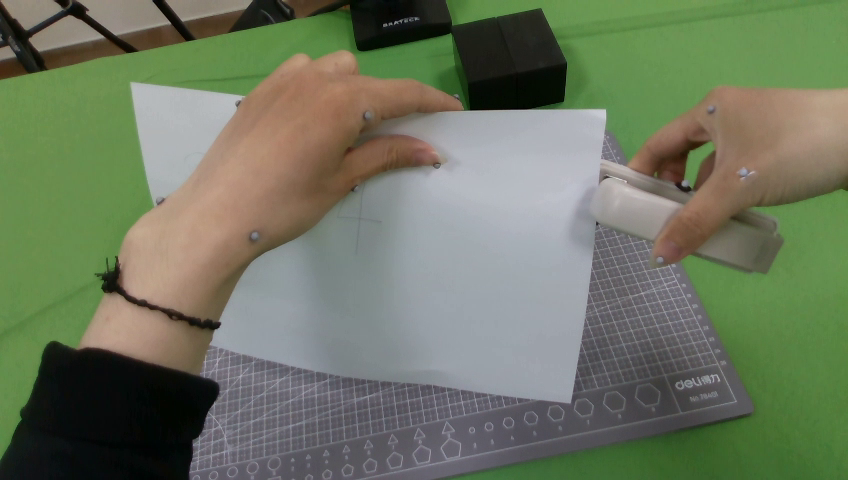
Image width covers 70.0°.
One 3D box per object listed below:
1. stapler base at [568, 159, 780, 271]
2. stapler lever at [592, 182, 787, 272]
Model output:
[{"bbox_3d":[0.158,-0.014,0.382,0.130,0.041,0.024,17,20,0],"label":"stapler base"},{"bbox_3d":[0.157,-0.006,0.356,0.118,0.027,0.040,16,20,-1],"label":"stapler lever"}]
